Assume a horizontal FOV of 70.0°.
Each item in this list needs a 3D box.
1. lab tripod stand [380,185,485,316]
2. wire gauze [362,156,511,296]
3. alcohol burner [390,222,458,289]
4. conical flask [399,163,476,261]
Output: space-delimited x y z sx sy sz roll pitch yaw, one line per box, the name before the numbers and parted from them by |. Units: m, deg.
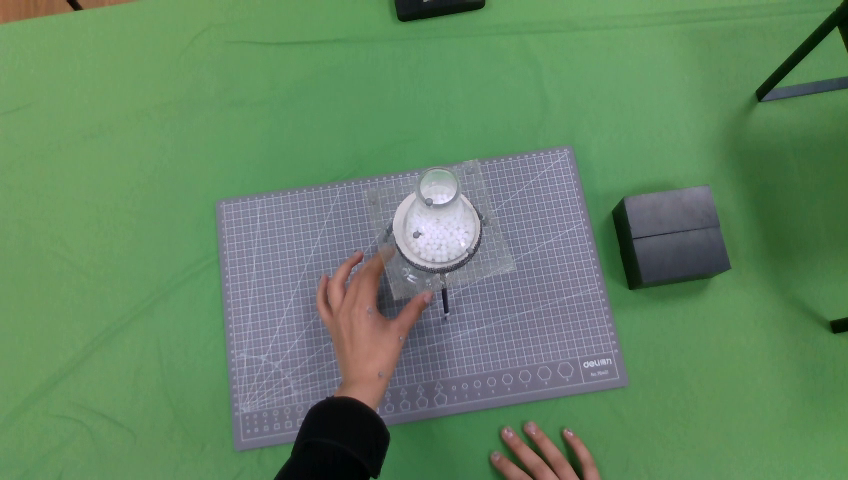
lab tripod stand | 0.015 0.000 0.665 0.148 0.132 0.147 0 74 1
wire gauze | 0.012 -0.014 0.601 0.125 0.011 0.121 -14 78 -6
alcohol burner | 0.000 0.013 0.672 0.078 0.119 0.077 0 75 -1
conical flask | 0.012 -0.030 0.543 0.075 0.122 0.075 0 75 1
